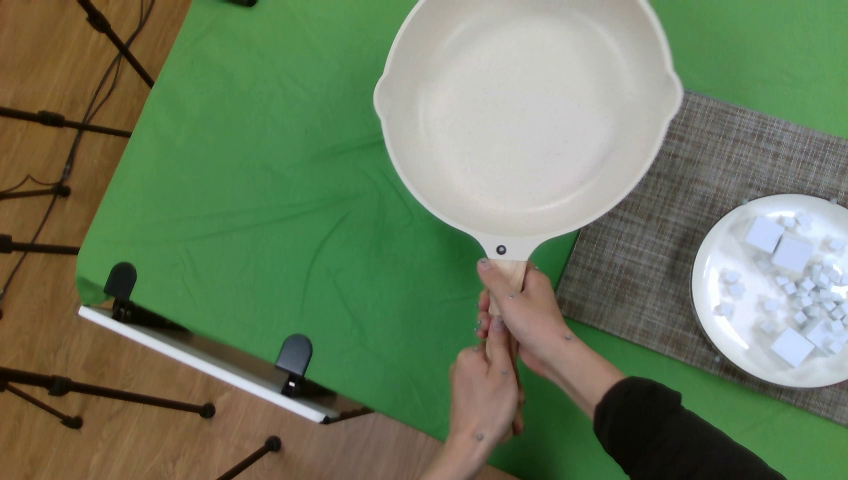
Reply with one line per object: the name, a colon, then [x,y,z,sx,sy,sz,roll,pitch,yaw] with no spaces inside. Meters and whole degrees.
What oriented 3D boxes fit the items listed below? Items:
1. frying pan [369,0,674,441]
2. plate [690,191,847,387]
frying pan: [0.087,-0.043,0.628,0.306,0.103,0.486,4,83,15]
plate: [0.393,0.051,0.651,0.207,0.039,0.207,-2,80,11]
